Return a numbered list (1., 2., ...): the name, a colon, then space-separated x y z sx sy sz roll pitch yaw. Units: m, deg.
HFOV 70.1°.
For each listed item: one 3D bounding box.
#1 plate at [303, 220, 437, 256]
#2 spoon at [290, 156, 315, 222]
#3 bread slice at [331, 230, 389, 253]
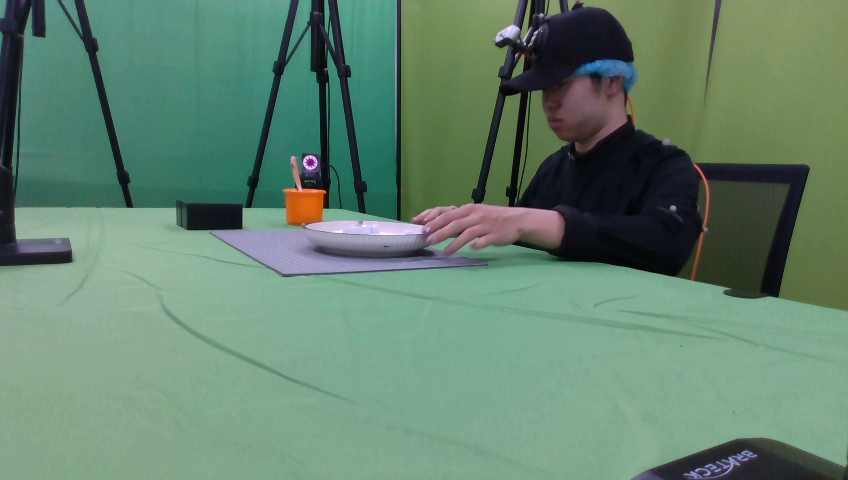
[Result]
1. plate: -0.084 -0.003 0.951 0.209 0.038 0.209 3 7 0
2. spoon: -0.274 -0.116 1.329 0.042 0.021 0.193 -3 49 -25
3. bread slice: -0.088 0.000 0.947 0.105 0.019 0.131 -4 11 -45
